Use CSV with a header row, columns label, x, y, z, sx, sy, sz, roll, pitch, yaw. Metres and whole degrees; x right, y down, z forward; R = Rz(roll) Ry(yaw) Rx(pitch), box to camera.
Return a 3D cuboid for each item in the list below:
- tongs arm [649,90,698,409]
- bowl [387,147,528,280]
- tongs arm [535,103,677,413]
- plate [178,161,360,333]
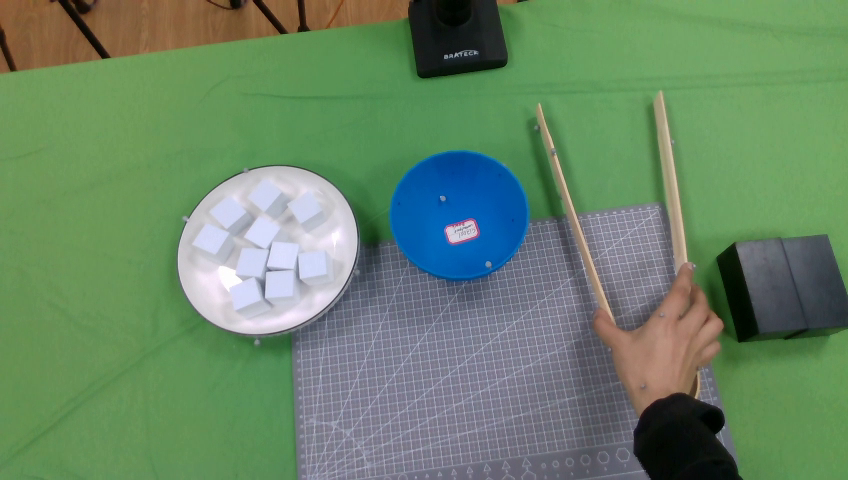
label,x,y,z,sx,sy,sz,roll,pitch,yaw
tongs arm,0.276,-0.004,0.686,0.028,0.028,0.384,4,68,-3
bowl,0.037,-0.019,0.678,0.151,0.077,0.150,-1,70,2
tongs arm,0.196,0.004,0.685,0.051,0.027,0.381,-9,68,-4
plate,-0.175,0.008,0.701,0.207,0.039,0.206,-1,70,4
